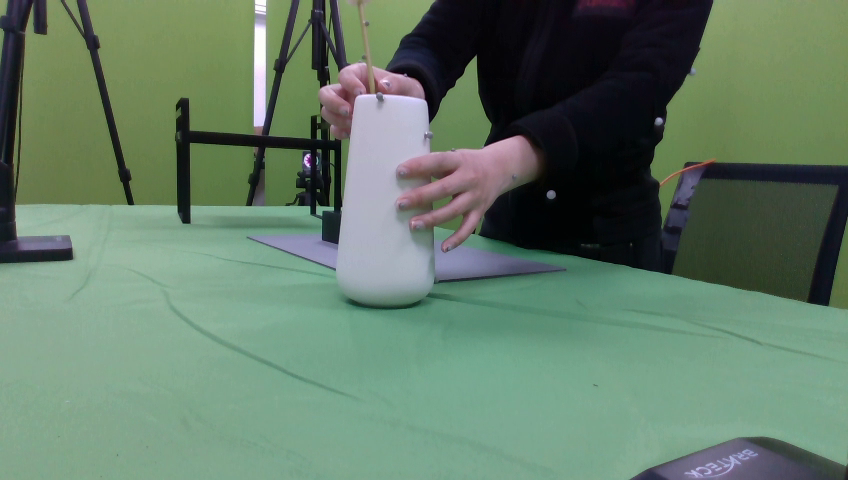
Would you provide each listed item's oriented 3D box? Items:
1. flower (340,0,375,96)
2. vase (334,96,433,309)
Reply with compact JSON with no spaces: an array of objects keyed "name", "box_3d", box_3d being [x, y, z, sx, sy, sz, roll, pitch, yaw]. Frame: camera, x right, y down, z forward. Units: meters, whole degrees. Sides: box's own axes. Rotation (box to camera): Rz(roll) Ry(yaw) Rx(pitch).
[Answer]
[{"name":"flower","box_3d":[-0.048,-0.119,0.590,0.044,0.361,0.038,-8,-7,-22]},{"name":"vase","box_3d":[-0.039,-0.036,0.589,0.098,0.200,0.098,1,8,0]}]
